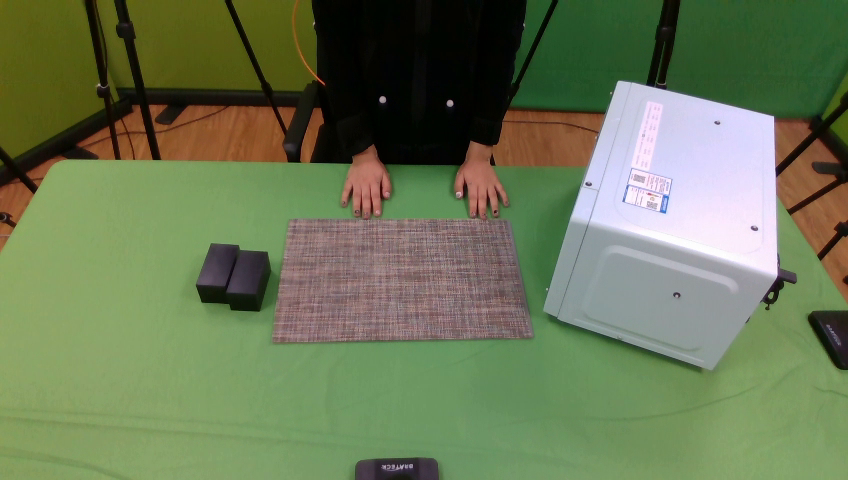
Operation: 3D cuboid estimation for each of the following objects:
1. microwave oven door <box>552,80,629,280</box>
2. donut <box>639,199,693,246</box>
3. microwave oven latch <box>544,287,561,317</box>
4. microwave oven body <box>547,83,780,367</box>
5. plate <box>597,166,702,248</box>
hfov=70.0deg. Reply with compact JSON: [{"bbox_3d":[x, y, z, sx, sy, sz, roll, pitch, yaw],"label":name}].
[{"bbox_3d":[0.324,-0.116,1.156,0.039,0.245,0.354,18,48,13],"label":"microwave oven door"},{"bbox_3d":[0.462,-0.034,1.159,0.099,0.048,0.098,0,62,-1],"label":"donut"},{"bbox_3d":[0.237,0.098,1.087,0.030,0.029,0.079,17,47,13],"label":"microwave oven latch"},{"bbox_3d":[0.445,-0.041,1.101,0.325,0.261,0.440,17,47,13],"label":"microwave oven body"},{"bbox_3d":[0.432,-0.061,1.176,0.209,0.038,0.208,8,48,-8],"label":"plate"}]
